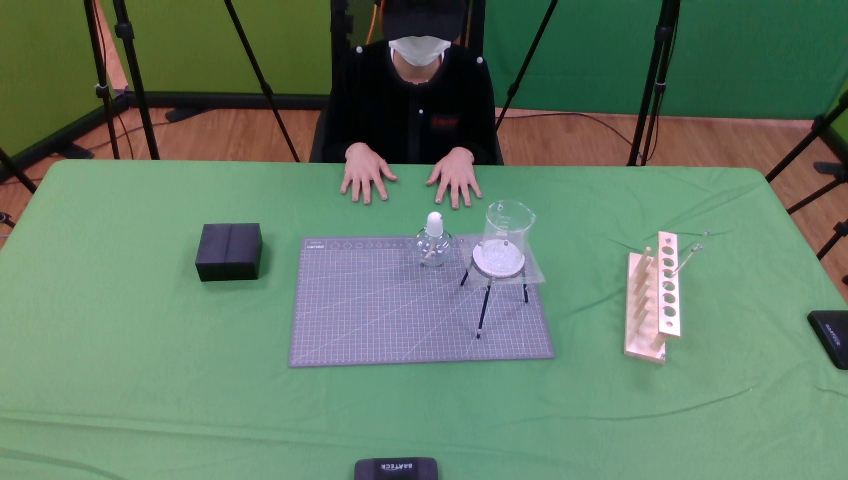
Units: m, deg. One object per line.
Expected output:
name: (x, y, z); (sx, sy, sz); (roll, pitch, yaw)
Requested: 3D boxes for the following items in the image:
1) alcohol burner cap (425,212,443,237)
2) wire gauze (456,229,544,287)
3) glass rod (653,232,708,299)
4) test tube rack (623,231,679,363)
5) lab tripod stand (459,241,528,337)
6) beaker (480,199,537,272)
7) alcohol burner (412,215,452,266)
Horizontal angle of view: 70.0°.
alcohol burner cap: (0.019, -0.032, 1.114); (0.034, 0.048, 0.033); (0, 49, 0)
wire gauze: (0.125, 0.030, 1.008); (0.125, 0.011, 0.120); (-3, 48, -11)
glass rod: (0.441, 0.049, 1.050); (0.008, 0.200, 0.008); (4, 52, -5)
test tube rack: (0.410, 0.094, 1.096); (0.066, 0.085, 0.241); (13, 46, 9)
lab tripod stand: (0.122, 0.075, 1.054); (0.148, 0.132, 0.147); (3, 44, -3)
beaker: (0.132, -0.004, 0.973); (0.084, 0.101, 0.073); (-4, 47, -9)
alcohol burner: (0.017, -0.006, 1.139); (0.078, 0.119, 0.077); (2, 48, -2)
